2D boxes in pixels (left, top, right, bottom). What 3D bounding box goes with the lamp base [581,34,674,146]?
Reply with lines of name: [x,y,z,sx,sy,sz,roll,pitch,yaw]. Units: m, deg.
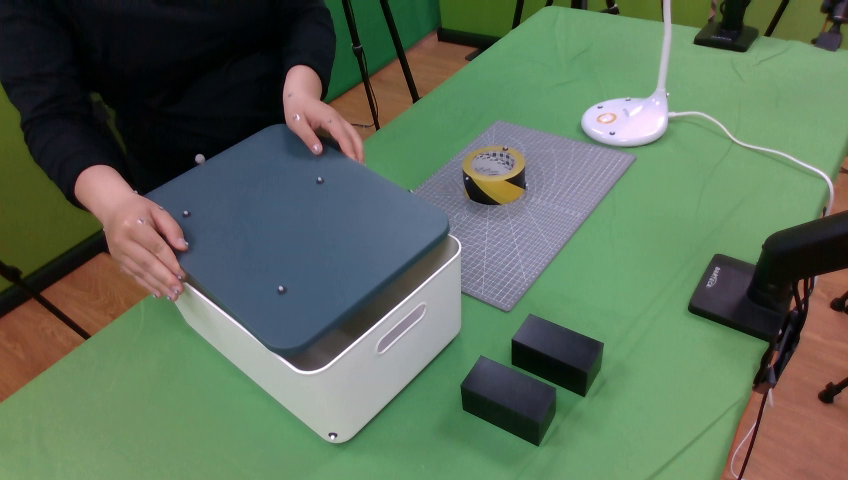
lamp base: [0.392,-0.291,1.129,0.180,0.181,0.159,-11,41,-8]

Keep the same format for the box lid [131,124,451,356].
box lid: [-0.174,-0.026,0.758,0.368,0.015,0.264,32,56,33]

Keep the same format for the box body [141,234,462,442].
box body: [-0.152,0.063,0.809,0.361,0.161,0.255,27,51,33]

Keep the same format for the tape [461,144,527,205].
tape: [0.124,-0.116,1.058,0.117,0.053,0.116,-4,42,4]
